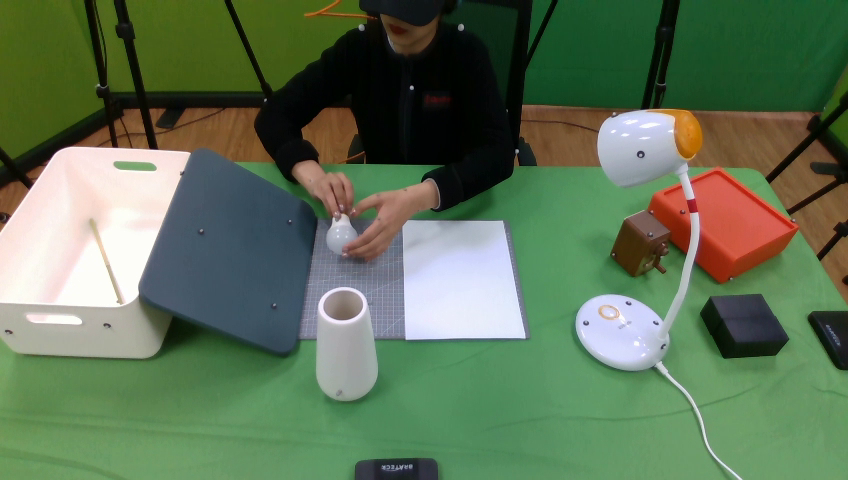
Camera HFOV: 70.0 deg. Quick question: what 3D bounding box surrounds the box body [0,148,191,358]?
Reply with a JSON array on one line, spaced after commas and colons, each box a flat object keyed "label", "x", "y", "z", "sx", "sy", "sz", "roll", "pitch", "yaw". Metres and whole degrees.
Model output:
[{"label": "box body", "x": -0.545, "y": 0.017, "z": 1.045, "sx": 0.254, "sy": 0.161, "sz": 0.361, "roll": 2, "pitch": 46, "yaw": -2}]

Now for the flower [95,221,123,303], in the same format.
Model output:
[{"label": "flower", "x": -0.558, "y": 0.069, "z": 1.088, "sx": 0.044, "sy": 0.038, "sz": 0.359, "roll": -26, "pitch": 48, "yaw": -18}]

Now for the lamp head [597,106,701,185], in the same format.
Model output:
[{"label": "lamp head", "x": 0.328, "y": -0.138, "z": 0.865, "sx": 0.112, "sy": 0.113, "sz": 0.122, "roll": -36, "pitch": 20, "yaw": -32}]

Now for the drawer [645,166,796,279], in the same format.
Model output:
[{"label": "drawer", "x": 0.600, "y": -0.041, "z": 1.236, "sx": 0.195, "sy": 0.073, "sz": 0.210, "roll": -21, "pitch": 51, "yaw": -23}]

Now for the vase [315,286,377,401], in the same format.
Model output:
[{"label": "vase", "x": -0.119, "y": 0.159, "z": 0.911, "sx": 0.098, "sy": 0.201, "sz": 0.097, "roll": 2, "pitch": 47, "yaw": -2}]

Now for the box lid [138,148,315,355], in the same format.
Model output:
[{"label": "box lid", "x": -0.322, "y": 0.008, "z": 1.063, "sx": 0.264, "sy": 0.015, "sz": 0.369, "roll": 30, "pitch": 38, "yaw": -28}]

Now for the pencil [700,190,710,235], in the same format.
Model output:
[{"label": "pencil", "x": 0.584, "y": -0.059, "z": 1.256, "sx": 0.012, "sy": 0.012, "sz": 0.193, "roll": 16, "pitch": 34, "yaw": 12}]

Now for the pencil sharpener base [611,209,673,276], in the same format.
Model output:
[{"label": "pencil sharpener base", "x": 0.416, "y": 0.007, "z": 1.158, "sx": 0.061, "sy": 0.107, "sz": 0.076, "roll": -21, "pitch": 51, "yaw": -22}]

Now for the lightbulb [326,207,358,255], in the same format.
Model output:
[{"label": "lightbulb", "x": -0.157, "y": -0.020, "z": 1.150, "sx": 0.059, "sy": 0.060, "sz": 0.107, "roll": -3, "pitch": 52, "yaw": -7}]

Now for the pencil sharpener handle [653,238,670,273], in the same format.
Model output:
[{"label": "pencil sharpener handle", "x": 0.444, "y": 0.030, "z": 1.120, "sx": 0.036, "sy": 0.068, "sz": 0.030, "roll": -25, "pitch": 52, "yaw": -18}]

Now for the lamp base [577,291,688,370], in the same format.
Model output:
[{"label": "lamp base", "x": 0.361, "y": 0.110, "z": 1.003, "sx": 0.160, "sy": 0.181, "sz": 0.178, "roll": -31, "pitch": 57, "yaw": -28}]

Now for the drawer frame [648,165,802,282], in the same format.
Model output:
[{"label": "drawer frame", "x": 0.603, "y": -0.040, "z": 1.233, "sx": 0.202, "sy": 0.083, "sz": 0.212, "roll": -21, "pitch": 51, "yaw": -23}]
